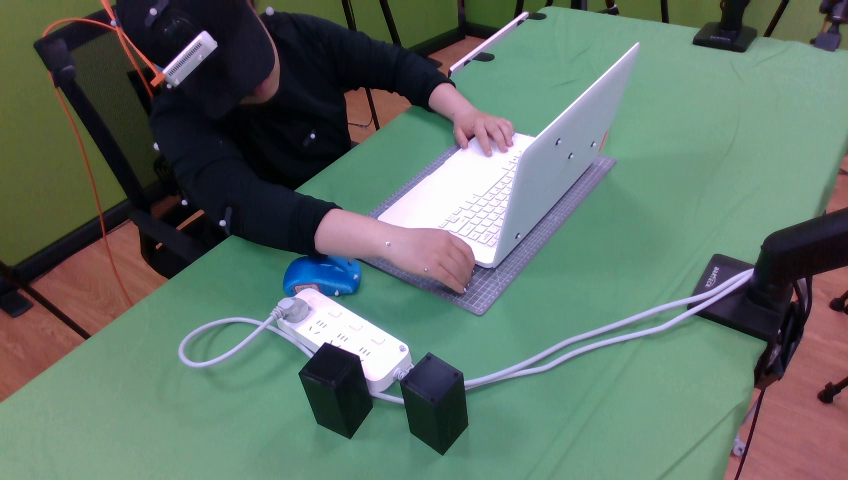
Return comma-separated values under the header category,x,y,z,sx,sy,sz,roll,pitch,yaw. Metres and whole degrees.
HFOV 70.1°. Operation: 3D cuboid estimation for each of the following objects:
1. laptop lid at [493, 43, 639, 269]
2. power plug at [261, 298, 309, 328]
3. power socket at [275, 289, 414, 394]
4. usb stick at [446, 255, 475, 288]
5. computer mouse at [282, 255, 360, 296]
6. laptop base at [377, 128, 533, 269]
category,x,y,z,sx,sy,sz,roll,pitch,yaw
laptop lid,0.217,-0.129,0.912,0.013,0.242,0.358,32,51,21
power plug,-0.193,0.107,0.831,0.073,0.053,0.035,-32,44,-27
power socket,-0.115,0.133,0.820,0.225,0.033,0.072,25,49,32
usb stick,0.056,0.043,0.892,0.021,0.027,0.059,21,41,27
computer mouse,-0.156,0.053,0.917,0.117,0.041,0.062,1,38,2
laptop base,0.116,-0.088,1.059,0.233,0.023,0.355,20,47,33
